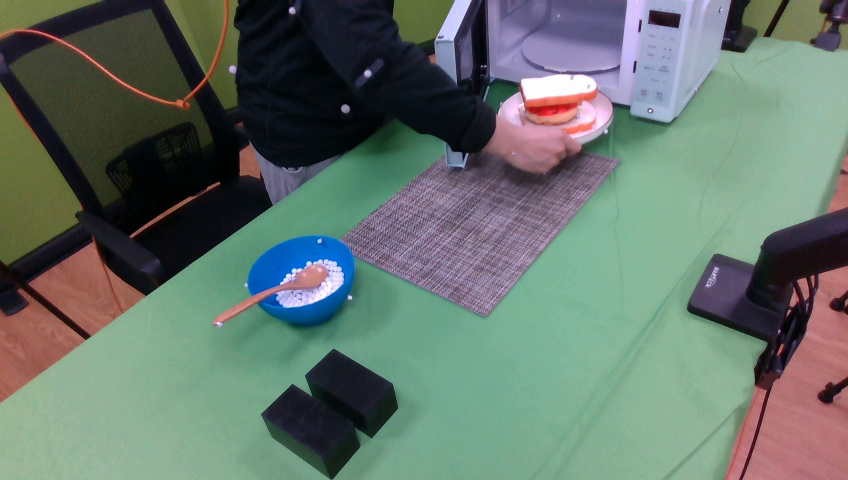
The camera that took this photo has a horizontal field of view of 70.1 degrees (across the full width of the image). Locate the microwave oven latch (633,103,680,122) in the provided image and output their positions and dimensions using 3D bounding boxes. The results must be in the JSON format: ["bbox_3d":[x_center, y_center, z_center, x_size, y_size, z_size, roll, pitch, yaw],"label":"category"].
[{"bbox_3d":[0.443,-0.249,1.157,0.078,0.029,0.030,21,49,30],"label":"microwave oven latch"}]

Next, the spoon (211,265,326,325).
[{"bbox_3d":[-0.208,0.072,0.822,0.041,0.021,0.195,27,29,26],"label":"spoon"}]

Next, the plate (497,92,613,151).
[{"bbox_3d":[0.238,-0.219,1.105,0.207,0.039,0.206,-5,41,5],"label":"plate"}]

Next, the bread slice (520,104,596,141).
[{"bbox_3d":[0.246,-0.220,1.108,0.134,0.018,0.106,-8,42,3],"label":"bread slice"}]

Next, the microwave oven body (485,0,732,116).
[{"bbox_3d":[0.377,-0.463,1.267,0.438,0.261,0.327,21,49,30],"label":"microwave oven body"}]

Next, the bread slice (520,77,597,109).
[{"bbox_3d":[0.237,-0.262,1.067,0.131,0.019,0.104,-3,35,4],"label":"bread slice"}]

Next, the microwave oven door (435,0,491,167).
[{"bbox_3d":[0.082,-0.339,1.159,0.039,0.245,0.355,4,42,13],"label":"microwave oven door"}]

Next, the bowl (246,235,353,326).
[{"bbox_3d":[-0.170,0.070,0.868,0.151,0.077,0.150,-4,41,4],"label":"bowl"}]

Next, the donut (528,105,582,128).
[{"bbox_3d":[0.234,-0.242,1.082,0.099,0.048,0.098,-6,53,9],"label":"donut"}]
